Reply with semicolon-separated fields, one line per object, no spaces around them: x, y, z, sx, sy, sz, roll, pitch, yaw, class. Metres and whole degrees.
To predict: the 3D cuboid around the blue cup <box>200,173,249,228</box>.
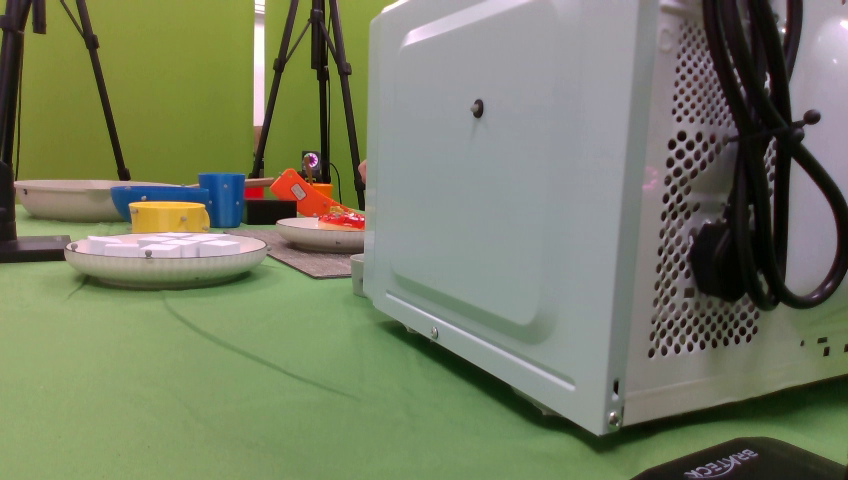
-0.380;-0.076;1.155;0.093;0.100;0.092;0;8;0;blue cup

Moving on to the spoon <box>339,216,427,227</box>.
-0.087;-0.041;1.268;0.193;0.021;0.041;3;19;14;spoon

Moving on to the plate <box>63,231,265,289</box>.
-0.288;0.021;0.687;0.208;0.039;0.207;2;8;0;plate

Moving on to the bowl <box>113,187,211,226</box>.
-0.436;-0.046;1.013;0.151;0.077;0.151;2;7;0;bowl

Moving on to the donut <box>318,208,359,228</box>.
-0.118;-0.024;0.954;0.099;0.048;0.099;5;7;0;donut

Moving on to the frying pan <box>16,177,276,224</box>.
-0.553;-0.097;1.266;0.490;0.102;0.305;-10;13;-24;frying pan

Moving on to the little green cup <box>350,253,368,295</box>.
-0.048;0.035;0.632;0.061;0.038;0.061;3;6;0;little green cup

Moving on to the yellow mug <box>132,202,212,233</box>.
-0.356;-0.020;0.878;0.099;0.064;0.131;5;7;21;yellow mug

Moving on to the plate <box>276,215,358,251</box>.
-0.126;-0.012;0.950;0.209;0.038;0.209;2;7;0;plate

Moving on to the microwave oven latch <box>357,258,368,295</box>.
-0.019;0.031;0.529;0.079;0.029;0.030;-1;7;-27;microwave oven latch

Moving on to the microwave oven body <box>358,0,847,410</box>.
0.210;-0.051;0.471;0.444;0.260;0.324;-1;7;-28;microwave oven body

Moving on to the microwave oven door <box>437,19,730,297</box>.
0.181;-0.076;0.618;0.358;0.243;0.039;-2;8;-28;microwave oven door

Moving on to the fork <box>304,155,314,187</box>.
-0.268;-0.134;1.446;0.028;0.018;0.207;1;-36;-1;fork

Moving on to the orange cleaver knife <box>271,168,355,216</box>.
-0.236;-0.084;1.333;0.212;0.077;0.012;31;-9;-32;orange cleaver knife
